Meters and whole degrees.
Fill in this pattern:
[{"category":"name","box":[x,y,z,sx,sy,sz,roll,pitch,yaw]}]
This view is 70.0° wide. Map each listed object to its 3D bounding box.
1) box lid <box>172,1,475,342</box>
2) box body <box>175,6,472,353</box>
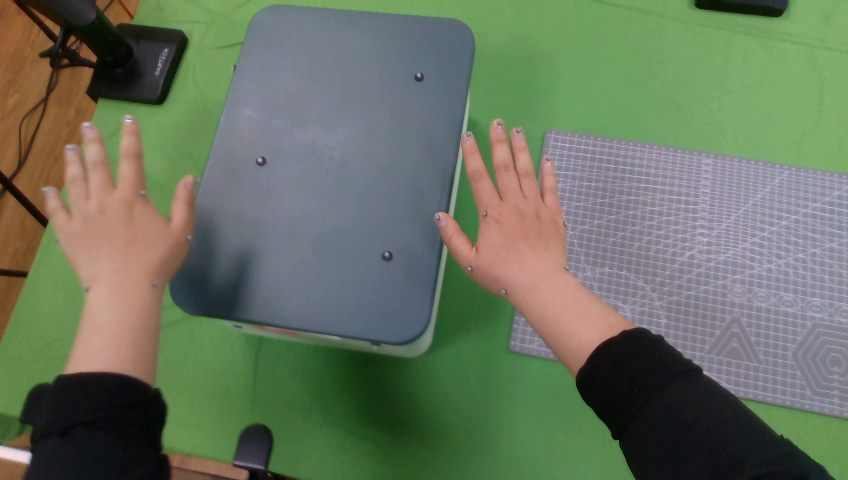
[{"category":"box lid","box":[-0.096,-0.091,0.634,0.263,0.015,0.369,7,73,7]},{"category":"box body","box":[-0.091,-0.064,0.704,0.254,0.161,0.362,7,72,6]}]
